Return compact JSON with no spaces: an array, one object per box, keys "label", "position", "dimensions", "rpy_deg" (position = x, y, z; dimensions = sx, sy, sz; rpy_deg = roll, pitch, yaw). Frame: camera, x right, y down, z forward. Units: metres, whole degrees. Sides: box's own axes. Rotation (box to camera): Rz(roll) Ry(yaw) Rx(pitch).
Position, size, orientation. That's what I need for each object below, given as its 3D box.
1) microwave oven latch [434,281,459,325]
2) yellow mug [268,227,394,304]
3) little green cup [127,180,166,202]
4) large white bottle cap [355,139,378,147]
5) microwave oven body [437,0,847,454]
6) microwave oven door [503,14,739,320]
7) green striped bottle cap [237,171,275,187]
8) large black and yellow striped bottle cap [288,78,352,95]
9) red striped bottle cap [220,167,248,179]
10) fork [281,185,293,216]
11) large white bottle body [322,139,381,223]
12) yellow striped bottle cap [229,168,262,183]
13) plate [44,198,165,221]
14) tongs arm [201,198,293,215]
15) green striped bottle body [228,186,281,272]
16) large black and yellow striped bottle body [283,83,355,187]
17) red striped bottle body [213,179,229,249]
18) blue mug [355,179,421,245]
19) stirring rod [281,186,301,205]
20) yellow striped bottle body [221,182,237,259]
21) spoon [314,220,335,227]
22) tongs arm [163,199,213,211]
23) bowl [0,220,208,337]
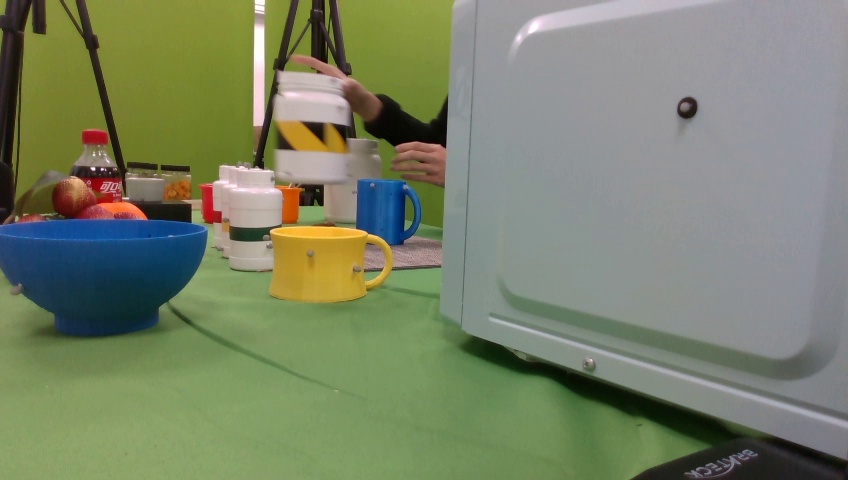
[{"label":"microwave oven latch","position":[0.044,0.045,0.470],"dimensions":[0.079,0.029,0.030],"rpy_deg":[-2,8,-39]},{"label":"yellow mug","position":[-0.094,0.023,0.630],"dimensions":[0.131,0.064,0.099],"rpy_deg":[0,8,-22]},{"label":"little green cup","position":[-0.486,-0.086,1.062],"dimensions":[0.061,0.038,0.061],"rpy_deg":[0,7,0]},{"label":"large white bottle cap","position":[-0.160,-0.218,1.357],"dimensions":[0.115,0.018,0.115],"rpy_deg":[2,8,0]},{"label":"microwave oven body","position":[0.279,-0.040,0.464],"dimensions":[0.444,0.260,0.324],"rpy_deg":[-3,9,-41]},{"label":"microwave oven door","position":[0.217,-0.065,0.600],"dimensions":[0.358,0.243,0.039],"rpy_deg":[-4,10,-41]},{"label":"green striped bottle cap","position":[-0.205,-0.074,0.738],"dimensions":[0.044,0.020,0.044],"rpy_deg":[1,9,0]},{"label":"large black and yellow striped bottle cap","position":[-0.188,-0.276,1.095],"dimensions":[0.115,0.019,0.115],"rpy_deg":[5,9,0]},{"label":"red striped bottle cap","position":[-0.281,-0.100,0.901],"dimensions":[0.044,0.017,0.044],"rpy_deg":[-1,5,0]},{"label":"fork","position":[-0.290,-0.116,1.322],"dimensions":[0.028,0.018,0.207],"rpy_deg":[14,53,10]},{"label":"large white bottle body","position":[-0.163,-0.135,1.368],"dimensions":[0.131,0.184,0.130],"rpy_deg":[2,7,0]},{"label":"yellow striped bottle cap","position":[-0.241,-0.087,0.816],"dimensions":[0.044,0.018,0.044],"rpy_deg":[-3,5,1]},{"label":"plate","position":[-0.617,-0.056,1.179],"dimensions":[0.209,0.038,0.209],"rpy_deg":[3,7,0]},{"label":"tongs arm","position":[-0.423,-0.084,1.473],"dimensions":[0.050,0.026,0.386],"rpy_deg":[1,6,21]},{"label":"green striped bottle body","position":[-0.208,-0.023,0.745],"dimensions":[0.063,0.119,0.063],"rpy_deg":[2,7,0]},{"label":"large black and yellow striped bottle body","position":[-0.191,-0.192,1.106],"dimensions":[0.131,0.184,0.130],"rpy_deg":[2,8,0]},{"label":"red striped bottle body","position":[-0.284,-0.047,0.908],"dimensions":[0.063,0.119,0.063],"rpy_deg":[2,7,0]},{"label":"blue mug","position":[-0.059,-0.046,1.004],"dimensions":[0.116,0.106,0.082],"rpy_deg":[6,8,24]},{"label":"stirring rod","position":[-0.278,-0.105,1.293],"dimensions":[0.176,0.006,0.014],"rpy_deg":[-47,24,-18]},{"label":"yellow striped bottle body","position":[-0.244,-0.035,0.823],"dimensions":[0.063,0.120,0.063],"rpy_deg":[2,8,0]},{"label":"spoon","position":[-0.185,-0.028,1.131],"dimensions":[0.041,0.021,0.193],"rpy_deg":[-31,8,3]},{"label":"tongs arm","position":[-0.503,-0.090,1.513],"dimensions":[0.028,0.028,0.389],"rpy_deg":[-1,3,38]},{"label":"bowl","position":[-0.251,0.029,0.479],"dimensions":[0.151,0.077,0.151],"rpy_deg":[2,7,0]}]
